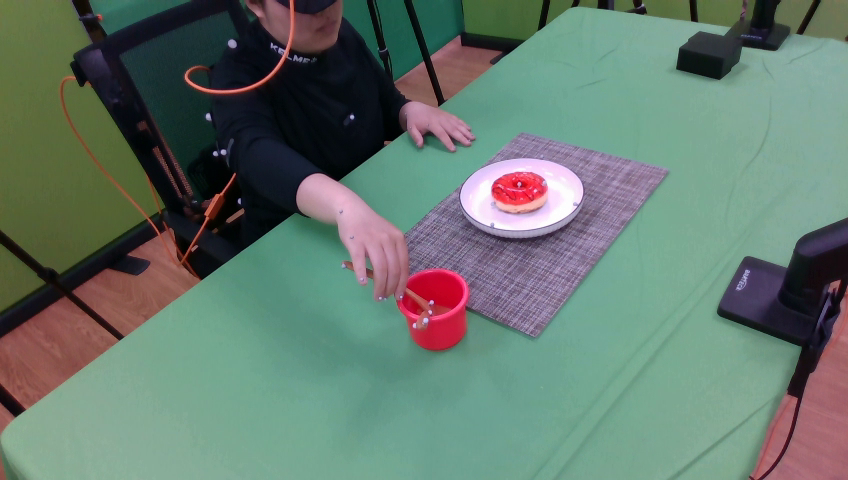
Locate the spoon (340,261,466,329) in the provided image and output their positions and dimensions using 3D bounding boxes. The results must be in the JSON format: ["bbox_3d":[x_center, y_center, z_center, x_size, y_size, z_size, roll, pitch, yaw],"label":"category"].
[{"bbox_3d":[-0.025,0.071,0.808,0.195,0.021,0.041,32,28,-19],"label":"spoon"}]

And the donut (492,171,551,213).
[{"bbox_3d":[0.163,-0.083,1.015,0.099,0.048,0.098,-6,37,5],"label":"donut"}]

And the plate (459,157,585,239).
[{"bbox_3d":[0.163,-0.068,1.015,0.209,0.038,0.208,-5,40,5],"label":"plate"}]

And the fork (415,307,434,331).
[{"bbox_3d":[0.001,0.098,0.761,0.028,0.207,0.018,33,87,3],"label":"fork"}]
